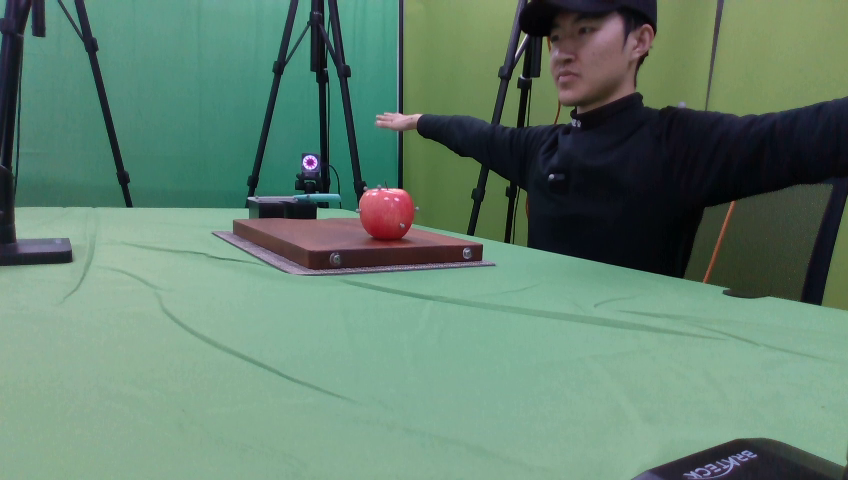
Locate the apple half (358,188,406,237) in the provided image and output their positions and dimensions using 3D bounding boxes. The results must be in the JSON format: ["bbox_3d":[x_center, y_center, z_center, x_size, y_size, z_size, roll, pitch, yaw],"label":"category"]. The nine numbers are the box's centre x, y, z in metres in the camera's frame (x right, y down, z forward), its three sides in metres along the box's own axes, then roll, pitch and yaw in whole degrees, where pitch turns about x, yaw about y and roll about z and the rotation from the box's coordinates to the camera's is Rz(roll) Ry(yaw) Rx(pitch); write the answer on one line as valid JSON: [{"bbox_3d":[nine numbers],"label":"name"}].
[{"bbox_3d":[-0.068,-0.043,0.904,0.082,0.081,0.032,-2,11,-29],"label":"apple half"}]

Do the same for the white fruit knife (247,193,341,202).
[{"bbox_3d":[-0.271,-0.088,1.283,0.208,0.016,0.027,-4,-20,-31],"label":"white fruit knife"}]

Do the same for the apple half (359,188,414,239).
[{"bbox_3d":[-0.049,-0.037,0.870,0.081,0.074,0.053,3,10,-30],"label":"apple half"}]
